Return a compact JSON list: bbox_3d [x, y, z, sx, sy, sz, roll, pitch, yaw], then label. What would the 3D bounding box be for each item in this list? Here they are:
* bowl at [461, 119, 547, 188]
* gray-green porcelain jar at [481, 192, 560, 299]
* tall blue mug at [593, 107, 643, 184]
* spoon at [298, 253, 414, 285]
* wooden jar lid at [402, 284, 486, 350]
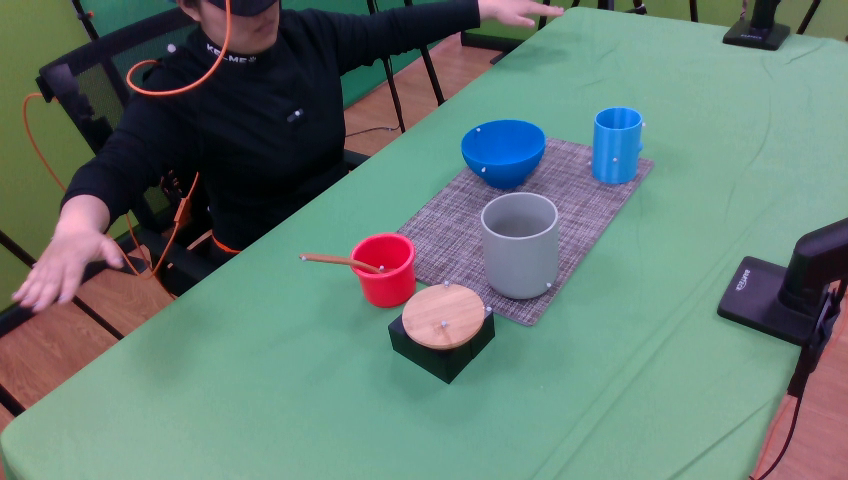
[{"bbox_3d":[0.145,-0.146,1.081,0.151,0.077,0.150,-5,40,5],"label":"bowl"},{"bbox_3d":[0.138,0.012,0.858,0.106,0.127,0.105,-6,40,5],"label":"gray-green porcelain jar"},{"bbox_3d":[0.330,-0.172,1.052,0.078,0.108,0.106,-12,40,0],"label":"tall blue mug"},{"bbox_3d":[-0.093,0.038,0.866,0.195,0.021,0.041,19,24,-40],"label":"spoon"},{"bbox_3d":[0.026,0.101,0.786,0.108,0.021,0.108,-5,39,4],"label":"wooden jar lid"}]
